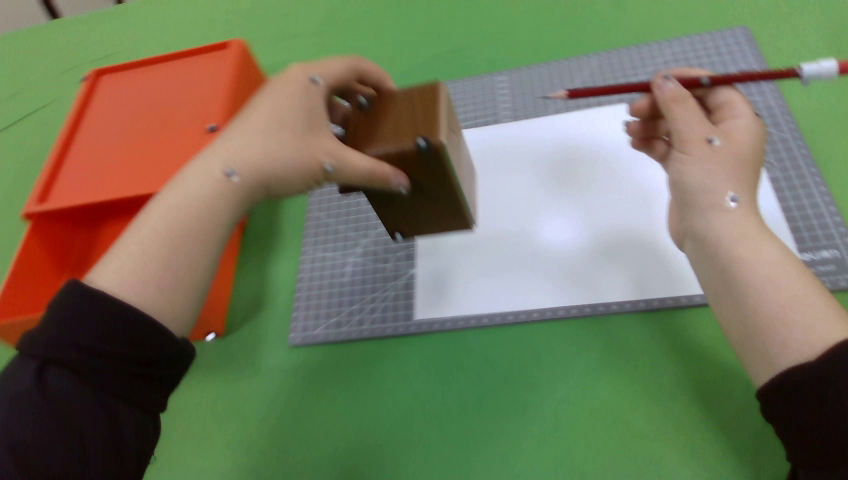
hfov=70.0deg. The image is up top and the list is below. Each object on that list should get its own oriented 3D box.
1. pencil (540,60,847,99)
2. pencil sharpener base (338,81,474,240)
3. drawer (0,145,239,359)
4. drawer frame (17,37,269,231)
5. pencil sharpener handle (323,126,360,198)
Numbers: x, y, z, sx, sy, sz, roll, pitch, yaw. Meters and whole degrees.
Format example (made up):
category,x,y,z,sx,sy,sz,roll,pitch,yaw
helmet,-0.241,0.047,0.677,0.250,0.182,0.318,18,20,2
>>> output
category,x,y,z,sx,sy,sz,roll,pitch,yaw
pencil,0.176,-0.107,0.410,0.193,0.012,0.012,-1,56,18
pencil sharpener base,-0.010,-0.053,0.447,0.076,0.108,0.061,-8,57,14
drawer,-0.279,-0.002,0.572,0.194,0.074,0.209,-9,54,10
drawer frame,-0.282,-0.099,0.637,0.201,0.083,0.211,-8,54,10
pencil sharpener handle,-0.063,-0.053,0.449,0.030,0.068,0.035,-8,58,14
